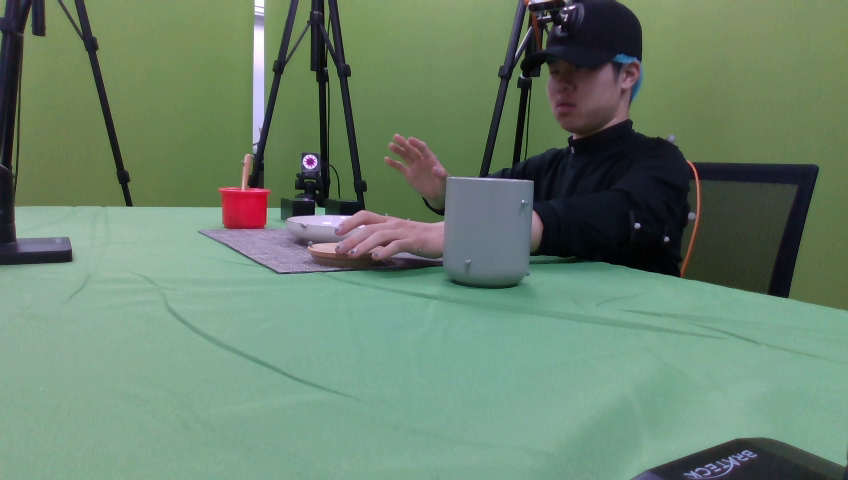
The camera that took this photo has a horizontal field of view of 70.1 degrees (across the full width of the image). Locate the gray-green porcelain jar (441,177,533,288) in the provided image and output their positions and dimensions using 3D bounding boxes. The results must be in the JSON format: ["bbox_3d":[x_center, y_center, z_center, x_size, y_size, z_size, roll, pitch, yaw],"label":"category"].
[{"bbox_3d":[0.075,-0.010,0.727,0.106,0.126,0.106,2,7,0],"label":"gray-green porcelain jar"}]

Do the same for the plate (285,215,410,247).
[{"bbox_3d":[-0.127,-0.015,1.012,0.208,0.039,0.207,3,7,0],"label":"plate"}]

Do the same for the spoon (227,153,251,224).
[{"bbox_3d":[-0.363,-0.107,1.211,0.042,0.021,0.193,-1,47,-7],"label":"spoon"}]

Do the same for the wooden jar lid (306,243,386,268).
[{"bbox_3d":[-0.105,0.020,0.816,0.108,0.020,0.108,2,7,0],"label":"wooden jar lid"}]
